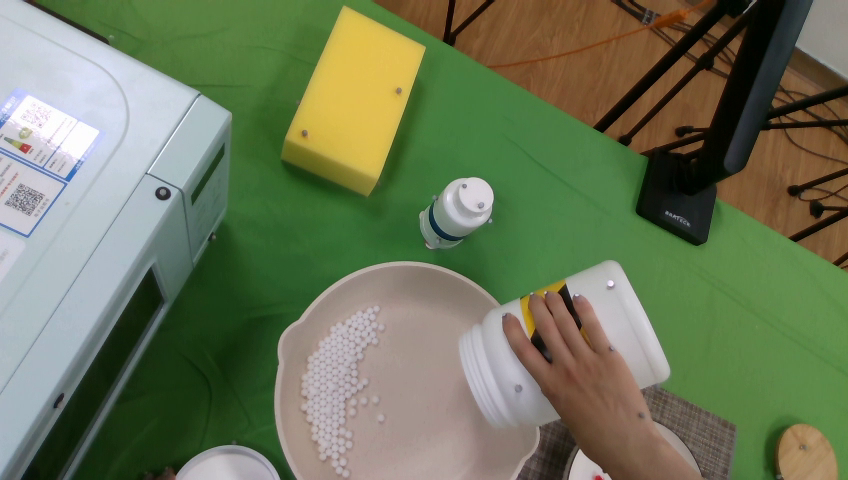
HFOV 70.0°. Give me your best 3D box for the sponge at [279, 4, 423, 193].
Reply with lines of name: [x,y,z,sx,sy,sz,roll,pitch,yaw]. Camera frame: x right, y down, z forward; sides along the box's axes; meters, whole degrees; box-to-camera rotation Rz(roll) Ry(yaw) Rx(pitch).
sponge: [-0.090,-0.179,0.767,0.119,0.061,0.205,21,68,-11]

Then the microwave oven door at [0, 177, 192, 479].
microwave oven door: [-0.294,0.136,0.483,0.039,0.244,0.354,27,67,-9]

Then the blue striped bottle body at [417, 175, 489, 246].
blue striped bottle body: [0.038,-0.038,0.738,0.063,0.121,0.062,5,72,-17]

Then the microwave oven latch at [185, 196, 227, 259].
microwave oven latch: [-0.244,-0.021,0.658,0.030,0.029,0.079,30,68,-9]

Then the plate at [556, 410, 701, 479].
plate: [0.252,0.319,0.751,0.210,0.038,0.208,6,73,-18]

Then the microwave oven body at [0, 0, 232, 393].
microwave oven body: [-0.408,0.036,0.477,0.327,0.260,0.439,27,68,-10]

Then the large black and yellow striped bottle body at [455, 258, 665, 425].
large black and yellow striped bottle body: [0.137,0.111,0.630,0.184,0.131,0.130,-25,81,13]

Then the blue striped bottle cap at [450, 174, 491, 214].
blue striped bottle cap: [0.054,-0.053,0.692,0.045,0.020,0.044,5,74,-18]

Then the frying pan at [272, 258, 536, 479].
frying pan: [-0.053,0.252,0.628,0.308,0.103,0.484,25,60,-8]

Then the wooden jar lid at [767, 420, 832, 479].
wooden jar lid: [0.536,0.314,0.868,0.109,0.021,0.108,5,74,-17]
